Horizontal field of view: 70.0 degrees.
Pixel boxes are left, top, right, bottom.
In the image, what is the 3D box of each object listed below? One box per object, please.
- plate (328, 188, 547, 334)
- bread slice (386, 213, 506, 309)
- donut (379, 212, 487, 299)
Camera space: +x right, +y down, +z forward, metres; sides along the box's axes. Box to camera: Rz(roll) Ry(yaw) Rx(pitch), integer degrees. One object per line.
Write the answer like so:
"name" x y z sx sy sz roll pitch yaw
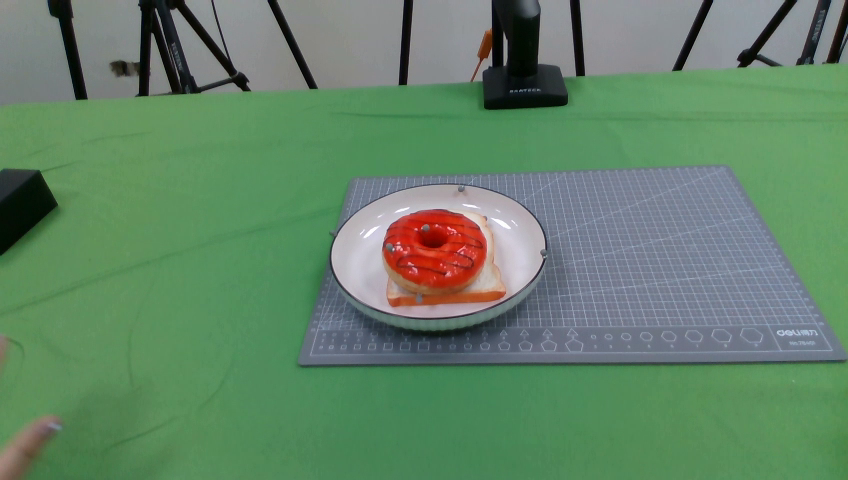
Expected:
"plate" 0.013 0.020 0.587 0.209 0.038 0.207 -3 37 2
"bread slice" 0.016 0.018 0.592 0.107 0.018 0.133 -4 38 -2
"donut" 0.008 0.014 0.551 0.099 0.048 0.098 -1 41 1
